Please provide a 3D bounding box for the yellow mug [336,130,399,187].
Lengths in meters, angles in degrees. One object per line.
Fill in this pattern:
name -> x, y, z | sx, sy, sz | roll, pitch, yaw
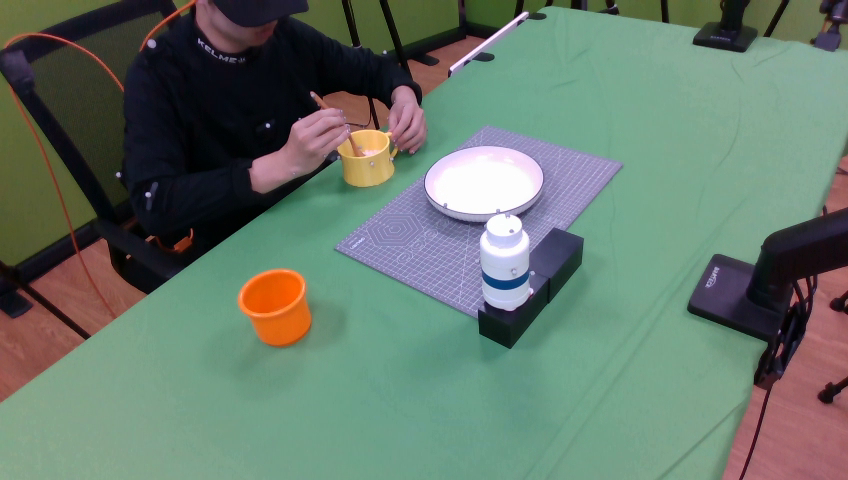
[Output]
yellow mug -> -0.099, -0.161, 1.138 | 0.131, 0.064, 0.099 | -33, 47, -28

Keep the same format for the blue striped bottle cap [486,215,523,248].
blue striped bottle cap -> 0.098, -0.011, 0.735 | 0.044, 0.021, 0.044 | -3, 38, 3

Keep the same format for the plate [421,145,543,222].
plate -> 0.101, -0.094, 1.048 | 0.207, 0.039, 0.206 | -4, 41, 4

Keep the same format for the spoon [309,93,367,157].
spoon -> -0.141, -0.192, 1.088 | 0.021, 0.195, 0.041 | -24, 39, 18

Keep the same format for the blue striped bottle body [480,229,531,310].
blue striped bottle body -> 0.104, 0.027, 0.769 | 0.063, 0.121, 0.063 | -4, 40, 4
